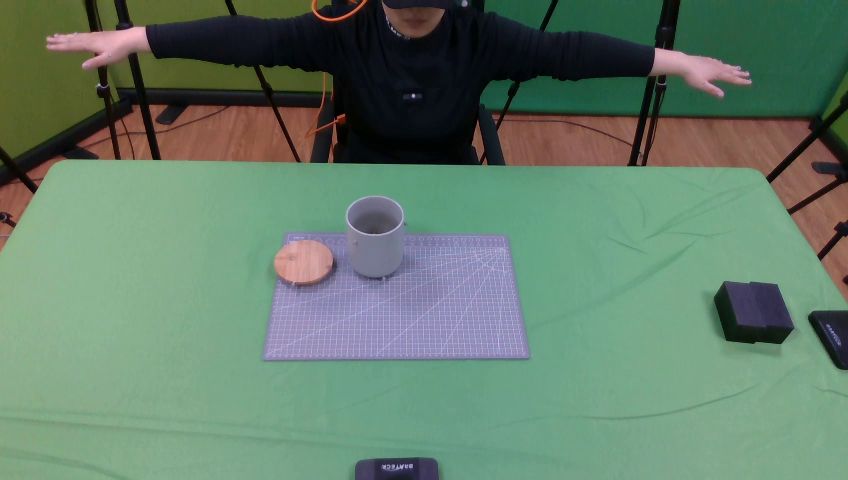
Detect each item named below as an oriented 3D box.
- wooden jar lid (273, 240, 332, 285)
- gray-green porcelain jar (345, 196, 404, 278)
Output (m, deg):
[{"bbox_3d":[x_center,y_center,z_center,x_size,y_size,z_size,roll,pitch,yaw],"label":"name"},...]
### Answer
[{"bbox_3d":[-0.227,0.044,1.137,0.108,0.021,0.107,3,47,-3],"label":"wooden jar lid"},{"bbox_3d":[-0.091,-0.001,1.117,0.106,0.127,0.105,2,46,-2],"label":"gray-green porcelain jar"}]
